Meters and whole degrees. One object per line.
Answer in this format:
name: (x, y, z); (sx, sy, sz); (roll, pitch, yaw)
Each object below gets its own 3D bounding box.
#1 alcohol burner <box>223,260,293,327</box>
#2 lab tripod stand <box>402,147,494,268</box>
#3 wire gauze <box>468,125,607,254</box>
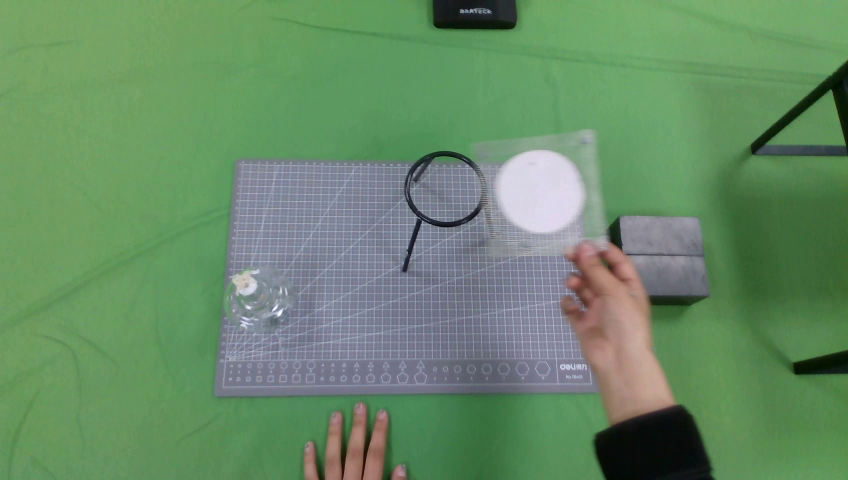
alcohol burner: (-0.188, 0.056, 0.674); (0.078, 0.119, 0.077); (1, 74, -3)
lab tripod stand: (0.017, -0.043, 0.709); (0.148, 0.132, 0.147); (1, 72, -1)
wire gauze: (0.111, -0.049, 0.588); (0.125, 0.011, 0.121); (-5, 80, -6)
